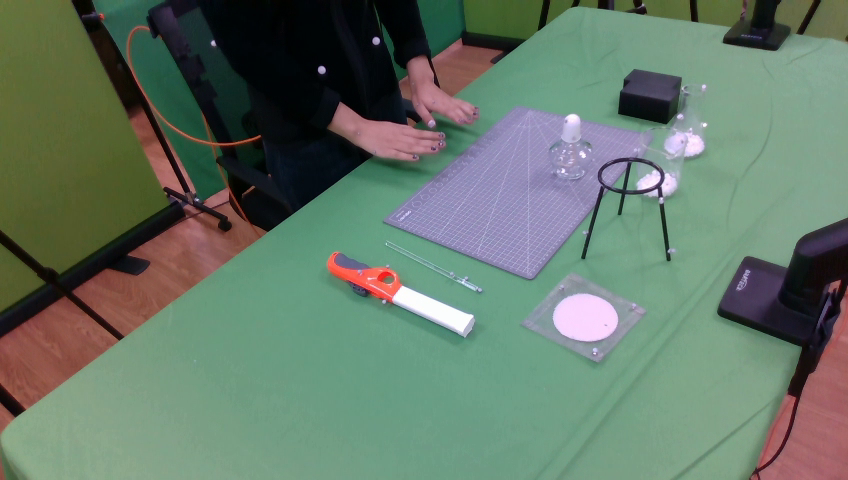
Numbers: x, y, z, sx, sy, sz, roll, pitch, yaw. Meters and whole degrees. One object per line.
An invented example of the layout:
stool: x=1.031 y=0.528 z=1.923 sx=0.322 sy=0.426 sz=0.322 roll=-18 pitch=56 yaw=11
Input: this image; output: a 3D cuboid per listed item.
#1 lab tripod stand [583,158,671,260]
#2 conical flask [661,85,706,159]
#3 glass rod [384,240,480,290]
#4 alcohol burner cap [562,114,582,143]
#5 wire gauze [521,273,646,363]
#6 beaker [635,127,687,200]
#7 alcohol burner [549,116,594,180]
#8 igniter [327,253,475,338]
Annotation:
lab tripod stand: x=0.300 y=-0.046 z=0.895 sx=0.148 sy=0.132 sz=0.147 roll=-7 pitch=38 yaw=6
conical flask: x=0.464 y=-0.210 z=1.065 sx=0.075 sy=0.122 sz=0.075 roll=-6 pitch=40 yaw=5
glass rod: x=0.009 y=0.037 z=0.950 sx=0.198 sy=0.008 sz=0.008 roll=26 pitch=52 yaw=35
alcohol burner cap: x=0.254 y=-0.192 z=1.030 sx=0.034 sy=0.048 sz=0.033 roll=-4 pitch=50 yaw=6
wire gauze: x=0.219 y=0.105 z=0.830 sx=0.120 sy=0.011 sz=0.125 roll=28 pitch=54 yaw=37
beaker: x=0.388 y=-0.122 z=0.994 sx=0.074 sy=0.101 sz=0.083 roll=-8 pitch=40 yaw=2
alcohol burner: x=0.258 y=-0.166 z=1.055 sx=0.078 sy=0.120 sz=0.077 roll=-6 pitch=42 yaw=6
igniter: x=-0.045 y=0.077 z=0.898 sx=0.274 sy=0.025 sz=0.057 roll=22 pitch=60 yaw=32
